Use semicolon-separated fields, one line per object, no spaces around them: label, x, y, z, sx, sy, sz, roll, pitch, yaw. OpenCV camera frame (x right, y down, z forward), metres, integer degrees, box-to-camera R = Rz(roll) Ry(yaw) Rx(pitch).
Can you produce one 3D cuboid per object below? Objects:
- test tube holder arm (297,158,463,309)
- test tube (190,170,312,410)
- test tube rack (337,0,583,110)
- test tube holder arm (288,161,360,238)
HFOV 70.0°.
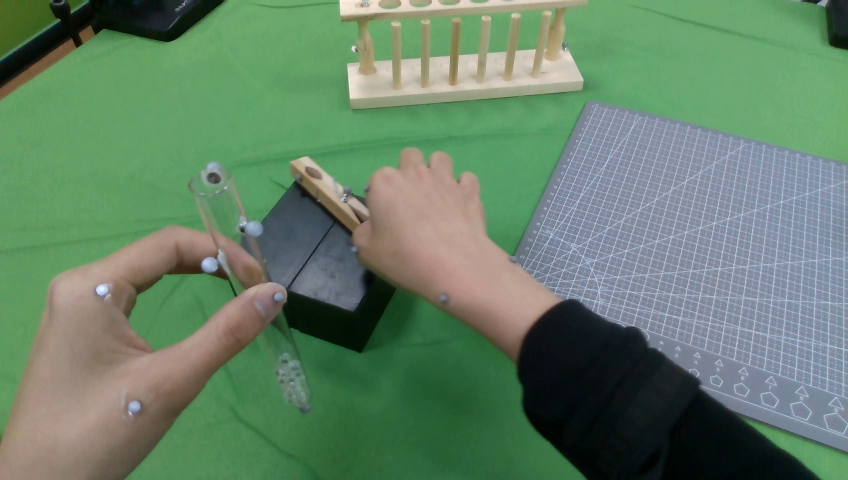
test tube holder arm;-0.037;-0.009;0.434;0.013;0.015;0.177;-37;59;-28
test tube;-0.071;0.032;0.269;0.017;0.151;0.017;-3;44;3
test tube rack;0.038;-0.197;0.618;0.243;0.086;0.066;-6;48;-5
test tube holder arm;-0.073;-0.031;0.452;0.010;0.015;0.087;-36;59;-27
